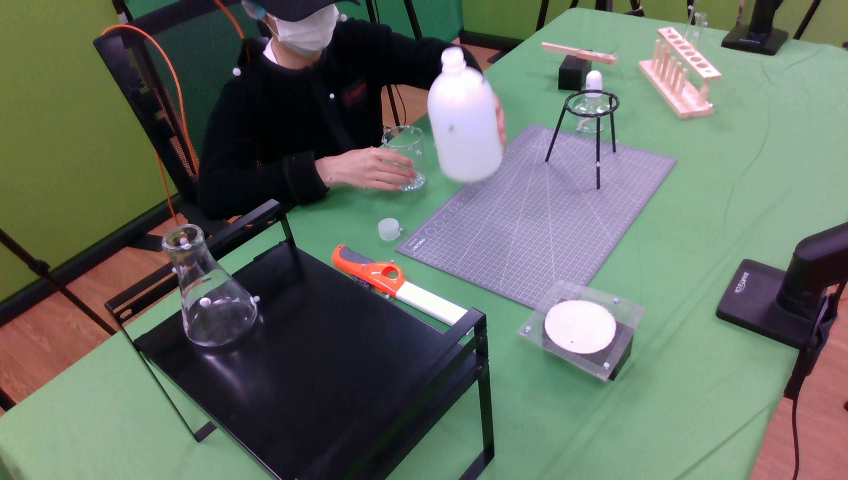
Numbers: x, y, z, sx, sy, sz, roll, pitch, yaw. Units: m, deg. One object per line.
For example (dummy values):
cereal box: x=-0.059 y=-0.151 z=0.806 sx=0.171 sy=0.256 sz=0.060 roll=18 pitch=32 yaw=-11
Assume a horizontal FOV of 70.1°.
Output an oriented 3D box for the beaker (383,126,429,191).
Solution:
beaker: x=-0.029 y=-0.149 z=1.103 sx=0.073 sy=0.101 sz=0.084 roll=12 pitch=43 yaw=22

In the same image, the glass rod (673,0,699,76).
glass rod: x=0.541 y=-0.427 z=1.246 sx=0.008 sy=0.200 sz=0.008 roll=-1 pitch=48 yaw=1

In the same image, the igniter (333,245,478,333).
igniter: x=-0.038 y=0.068 z=0.904 sx=0.274 sy=0.025 sz=0.057 roll=24 pitch=60 yaw=32

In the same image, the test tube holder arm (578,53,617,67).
test tube holder arm: x=0.376 y=-0.393 z=1.314 sx=0.087 sy=0.015 sz=0.010 roll=26 pitch=51 yaw=32

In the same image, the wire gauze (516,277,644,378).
wire gauze: x=0.197 y=0.103 z=0.765 sx=0.124 sy=0.011 sz=0.122 roll=23 pitch=50 yaw=31

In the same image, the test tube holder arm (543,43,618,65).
test tube holder arm: x=0.345 y=-0.413 z=1.340 sx=0.177 sy=0.015 sz=0.013 roll=25 pitch=50 yaw=31

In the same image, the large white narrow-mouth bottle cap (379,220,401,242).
large white narrow-mouth bottle cap: x=-0.057 y=-0.015 z=1.011 sx=0.038 sy=0.024 sz=0.037 roll=-4 pitch=40 yaw=4

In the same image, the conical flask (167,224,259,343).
conical flask: x=-0.220 y=0.041 z=0.613 sx=0.075 sy=0.122 sz=0.075 roll=-5 pitch=40 yaw=4

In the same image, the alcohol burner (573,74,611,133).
alcohol burner: x=0.330 y=-0.270 z=1.176 sx=0.078 sy=0.119 sz=0.077 roll=-4 pitch=43 yaw=4

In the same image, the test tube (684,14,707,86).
test tube: x=0.541 y=-0.379 z=1.216 sx=0.017 sy=0.151 sz=0.017 roll=-2 pitch=44 yaw=2

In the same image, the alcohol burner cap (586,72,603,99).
alcohol burner cap: x=0.325 y=-0.297 z=1.154 sx=0.034 sy=0.048 sz=0.033 roll=-8 pitch=35 yaw=6

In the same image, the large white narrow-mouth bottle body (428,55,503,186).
large white narrow-mouth bottle body: x=0.059 y=-0.184 z=0.918 sx=0.101 sy=0.195 sz=0.101 roll=-9 pitch=39 yaw=8

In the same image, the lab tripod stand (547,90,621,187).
lab tripod stand: x=0.289 y=-0.184 z=1.062 sx=0.148 sy=0.132 sz=0.147 roll=-6 pitch=41 yaw=6

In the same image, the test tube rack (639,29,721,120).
test tube rack: x=0.527 y=-0.351 z=1.262 sx=0.067 sy=0.085 sz=0.241 roll=-8 pitch=40 yaw=1
